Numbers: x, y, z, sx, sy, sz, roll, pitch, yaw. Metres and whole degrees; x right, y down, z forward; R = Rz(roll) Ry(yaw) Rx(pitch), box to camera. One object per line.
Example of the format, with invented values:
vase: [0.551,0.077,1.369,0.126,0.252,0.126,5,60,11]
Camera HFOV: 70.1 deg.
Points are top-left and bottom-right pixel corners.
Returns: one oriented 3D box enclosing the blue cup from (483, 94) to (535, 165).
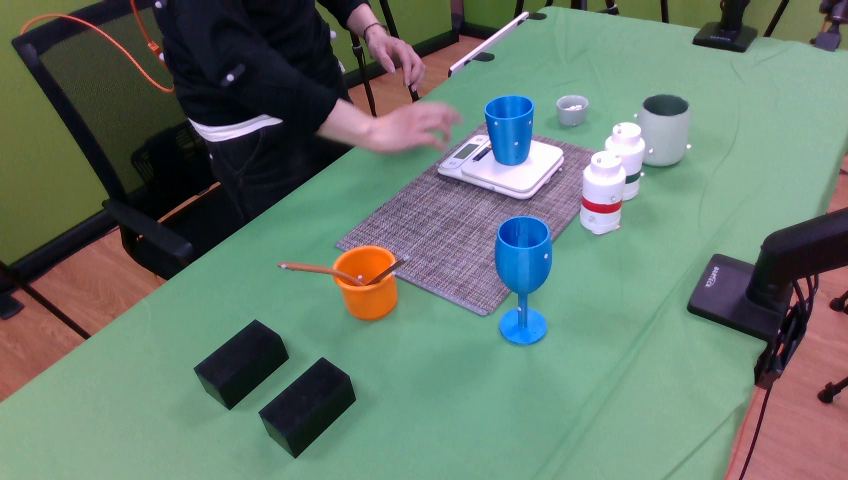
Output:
blue cup: [0.150,-0.188,1.052,0.092,0.101,0.092,-6,40,5]

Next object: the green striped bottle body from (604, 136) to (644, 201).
green striped bottle body: [0.326,-0.128,0.997,0.063,0.120,0.063,-4,41,4]

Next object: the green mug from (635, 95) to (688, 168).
green mug: [0.421,-0.201,1.081,0.092,0.105,0.125,5,42,15]

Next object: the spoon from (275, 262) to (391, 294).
spoon: [-0.120,0.050,0.830,0.041,0.195,0.021,31,96,45]

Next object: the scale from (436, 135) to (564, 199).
scale: [0.137,-0.142,1.101,0.199,0.032,0.149,22,48,30]

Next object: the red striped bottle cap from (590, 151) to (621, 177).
red striped bottle cap: [0.273,-0.115,0.907,0.044,0.018,0.044,-4,43,4]

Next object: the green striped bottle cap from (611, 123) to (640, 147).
green striped bottle cap: [0.322,-0.168,0.963,0.044,0.020,0.044,-4,41,4]

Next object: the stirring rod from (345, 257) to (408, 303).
stirring rod: [-0.067,0.057,0.815,0.014,0.175,0.006,-25,82,-38]

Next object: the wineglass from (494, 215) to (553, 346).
wineglass: [0.127,0.055,0.770,0.074,0.173,0.073,-4,40,4]

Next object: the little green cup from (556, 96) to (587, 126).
little green cup: [0.295,-0.258,1.214,0.061,0.039,0.061,-4,41,4]

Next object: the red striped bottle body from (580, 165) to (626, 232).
red striped bottle body: [0.278,-0.075,0.942,0.063,0.120,0.062,-4,41,4]
